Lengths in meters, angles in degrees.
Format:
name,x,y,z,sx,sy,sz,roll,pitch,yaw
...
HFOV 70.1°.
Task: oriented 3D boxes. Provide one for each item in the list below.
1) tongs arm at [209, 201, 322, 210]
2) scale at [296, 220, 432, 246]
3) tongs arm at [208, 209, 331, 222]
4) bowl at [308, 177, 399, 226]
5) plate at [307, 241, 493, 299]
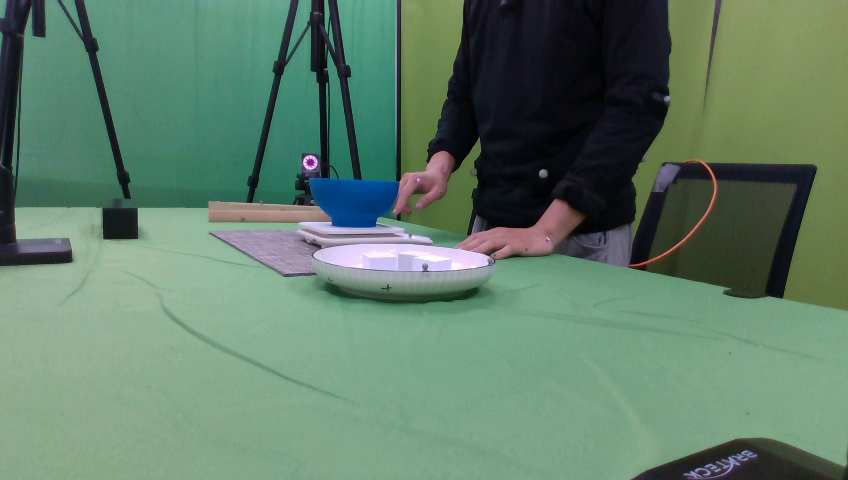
name,x,y,z,sx,sy,sz,roll,pitch,yaw
tongs arm,-0.306,-0.071,1.430,0.386,0.026,0.050,1,8,-16
scale,-0.101,-0.012,1.017,0.202,0.031,0.148,-1,8,-30
tongs arm,-0.280,-0.056,1.355,0.389,0.028,0.028,-1,6,-28
bowl,-0.117,-0.064,1.001,0.151,0.077,0.151,2,6,0
plate,-0.027,0.034,0.684,0.208,0.039,0.207,2,7,0
